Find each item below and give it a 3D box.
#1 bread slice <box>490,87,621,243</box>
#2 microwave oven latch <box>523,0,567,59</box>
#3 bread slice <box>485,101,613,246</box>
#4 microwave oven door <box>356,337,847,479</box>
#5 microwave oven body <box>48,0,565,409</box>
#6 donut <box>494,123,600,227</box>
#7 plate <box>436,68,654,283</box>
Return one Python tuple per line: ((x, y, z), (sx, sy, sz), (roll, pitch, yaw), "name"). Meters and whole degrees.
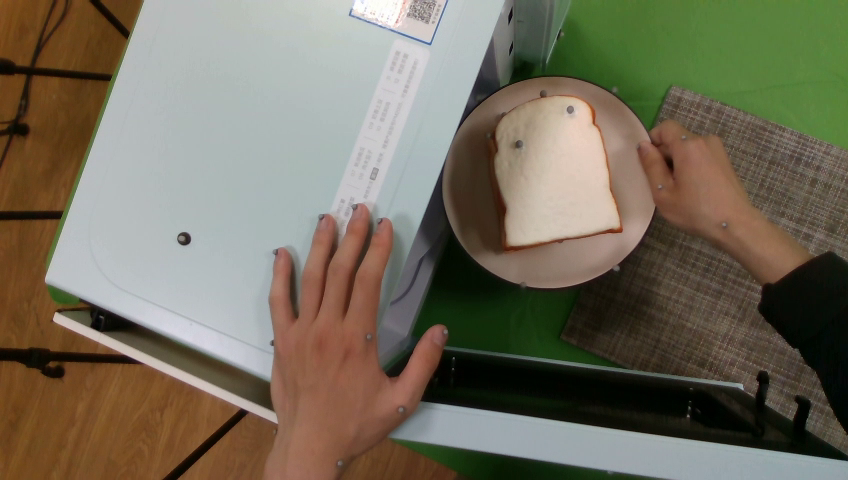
((0.110, -0.069, 0.542), (0.105, 0.019, 0.131), (-12, 88, 11), "bread slice")
((0.130, -0.236, 0.641), (0.030, 0.029, 0.079), (22, 94, 7), "microwave oven latch")
((0.114, -0.068, 0.596), (0.107, 0.018, 0.134), (-16, 88, 4), "bread slice")
((0.140, 0.140, 0.540), (0.355, 0.244, 0.039), (5, 90, 9), "microwave oven door")
((-0.085, -0.124, 0.576), (0.325, 0.260, 0.442), (21, 94, 7), "microwave oven body")
((0.114, -0.060, 0.570), (0.099, 0.048, 0.099), (0, 91, 4), "donut")
((0.116, -0.061, 0.598), (0.207, 0.039, 0.207), (0, 91, 6), "plate")
